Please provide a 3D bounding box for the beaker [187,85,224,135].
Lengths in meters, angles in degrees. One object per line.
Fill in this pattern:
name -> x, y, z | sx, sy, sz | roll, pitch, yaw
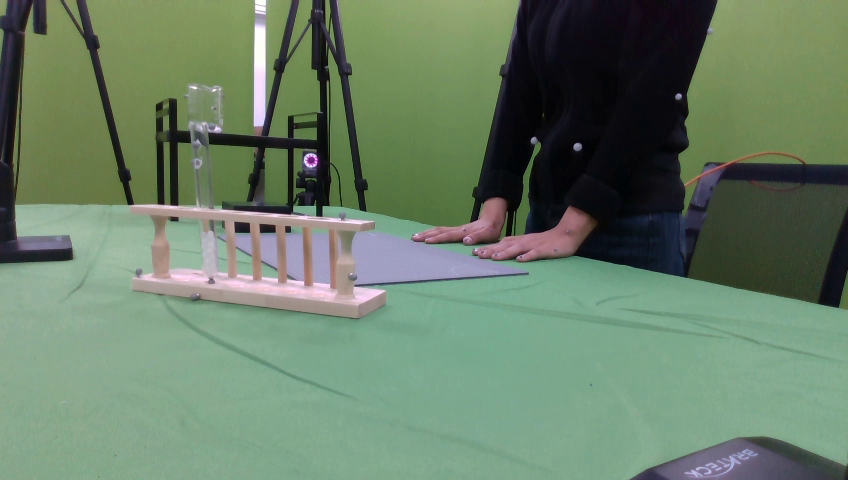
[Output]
beaker -> -0.466, -0.276, 1.296 | 0.074, 0.100, 0.083 | -3, 10, -35

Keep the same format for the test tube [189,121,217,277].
test tube -> -0.210, -0.037, 0.576 | 0.017, 0.150, 0.017 | 1, 14, 0

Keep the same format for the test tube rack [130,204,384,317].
test tube rack -> -0.162, 0.013, 0.589 | 0.242, 0.085, 0.067 | 4, 8, 17
